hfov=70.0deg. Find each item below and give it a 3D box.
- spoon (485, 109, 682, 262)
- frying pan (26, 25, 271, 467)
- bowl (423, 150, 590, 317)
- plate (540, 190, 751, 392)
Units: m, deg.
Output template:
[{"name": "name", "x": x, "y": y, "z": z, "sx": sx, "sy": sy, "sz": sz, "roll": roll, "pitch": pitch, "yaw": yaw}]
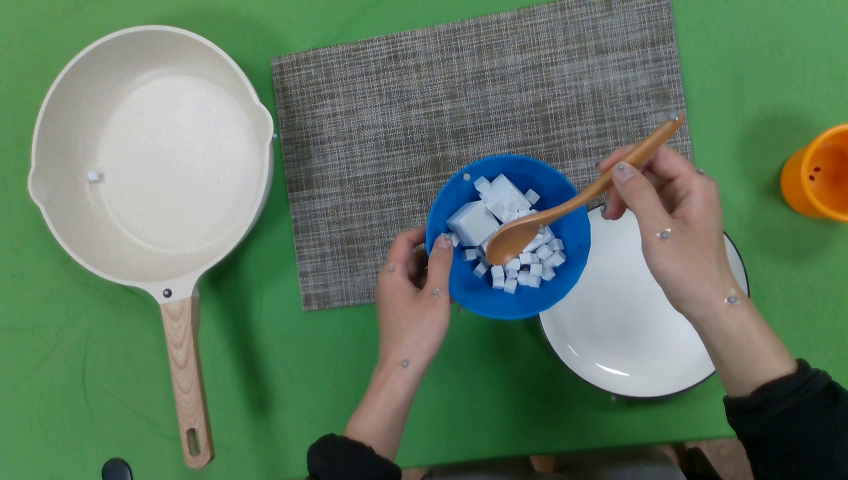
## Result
[{"name": "spoon", "x": 0.116, "y": -0.035, "z": 0.464, "sx": 0.194, "sy": 0.042, "sz": 0.021, "roll": -38, "pitch": 51, "yaw": 40}, {"name": "frying pan", "x": -0.288, "y": 0.007, "z": 0.686, "sx": 0.306, "sy": 0.103, "sz": 0.485, "roll": -12, "pitch": 80, "yaw": 10}, {"name": "bowl", "x": 0.075, "y": -0.005, "z": 0.580, "sx": 0.151, "sy": 0.077, "sz": 0.151, "roll": 0, "pitch": 92, "yaw": 0}, {"name": "plate", "x": 0.223, "y": 0.052, "z": 0.631, "sx": 0.207, "sy": 0.039, "sz": 0.207, "roll": 0, "pitch": 93, "yaw": 10}]
